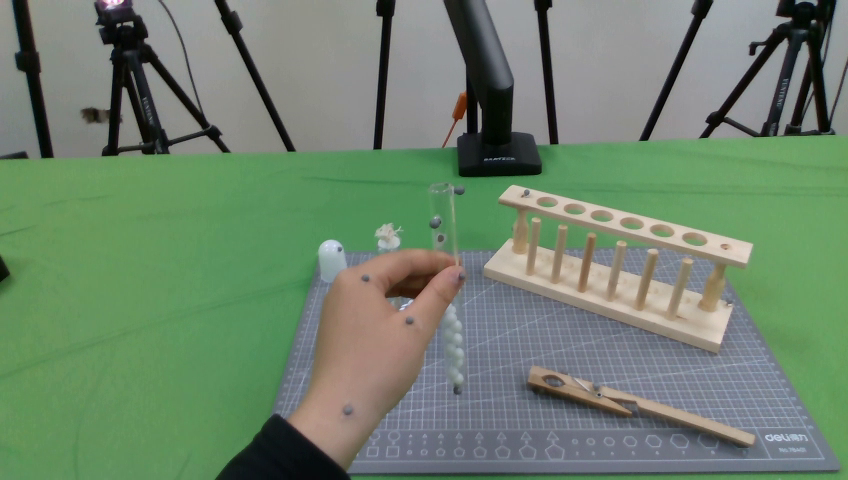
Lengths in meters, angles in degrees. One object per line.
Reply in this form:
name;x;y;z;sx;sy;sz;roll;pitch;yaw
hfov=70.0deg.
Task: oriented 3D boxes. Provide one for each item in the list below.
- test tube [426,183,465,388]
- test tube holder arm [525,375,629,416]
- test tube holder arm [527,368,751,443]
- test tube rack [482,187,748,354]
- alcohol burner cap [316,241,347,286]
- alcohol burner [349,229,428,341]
test tube;0.015;0.035;0.397;0.017;0.151;0.017;-4;25;2
test tube holder arm;0.130;0.132;0.515;0.087;0.015;0.010;12;71;19
test tube holder arm;0.173;0.136;0.503;0.177;0.015;0.013;11;71;18
test tube rack;0.181;0.023;0.611;0.240;0.086;0.066;18;39;27
alcohol burner cap;-0.104;0.023;0.669;0.034;0.048;0.033;-1;35;1
alcohol burner;-0.035;0.039;0.577;0.078;0.120;0.077;0;36;1
